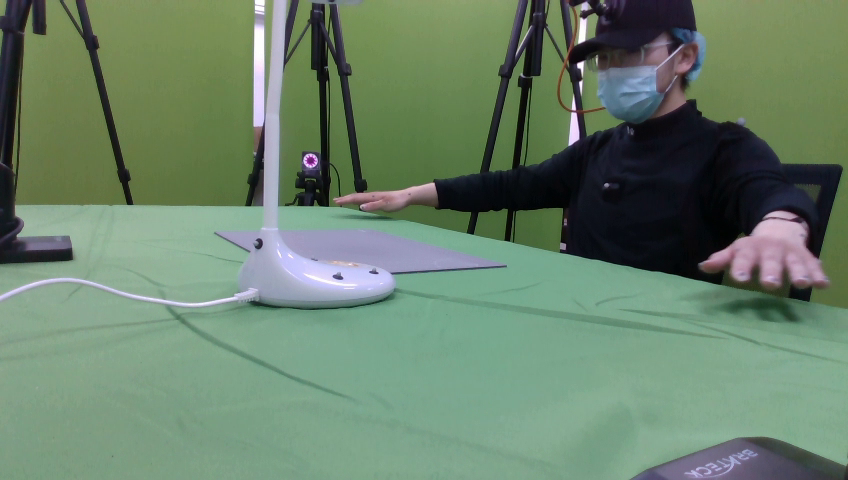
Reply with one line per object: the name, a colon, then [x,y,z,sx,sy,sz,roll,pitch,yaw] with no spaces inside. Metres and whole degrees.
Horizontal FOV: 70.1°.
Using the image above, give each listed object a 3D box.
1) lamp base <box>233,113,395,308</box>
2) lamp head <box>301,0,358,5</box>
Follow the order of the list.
lamp base: [-0.113,-0.033,0.600,0.160,0.180,0.180,6,11,28]
lamp head: [-0.095,-0.314,0.610,0.112,0.123,0.112,-4,50,5]
